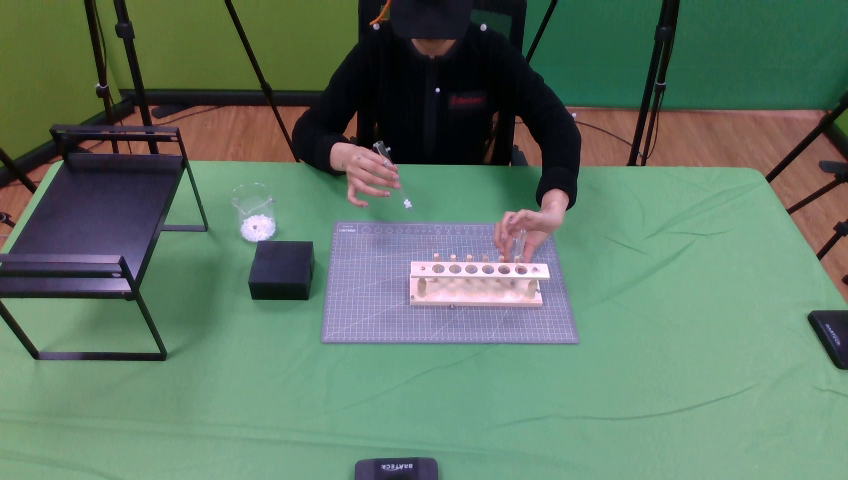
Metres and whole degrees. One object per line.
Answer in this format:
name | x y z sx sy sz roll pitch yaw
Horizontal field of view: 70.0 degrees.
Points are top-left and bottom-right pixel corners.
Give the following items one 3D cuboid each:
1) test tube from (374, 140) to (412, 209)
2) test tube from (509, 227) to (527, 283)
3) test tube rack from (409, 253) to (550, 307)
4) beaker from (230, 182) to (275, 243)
test tube | -0.057 -0.121 1.143 0.017 0.151 0.017 -18 32 12
test tube | 0.166 0.028 1.074 0.017 0.151 0.017 0 51 0
test tube rack | 0.095 0.067 1.093 0.242 0.085 0.066 1 47 -3
beaker | -0.328 -0.049 1.166 0.074 0.101 0.083 2 47 -2
